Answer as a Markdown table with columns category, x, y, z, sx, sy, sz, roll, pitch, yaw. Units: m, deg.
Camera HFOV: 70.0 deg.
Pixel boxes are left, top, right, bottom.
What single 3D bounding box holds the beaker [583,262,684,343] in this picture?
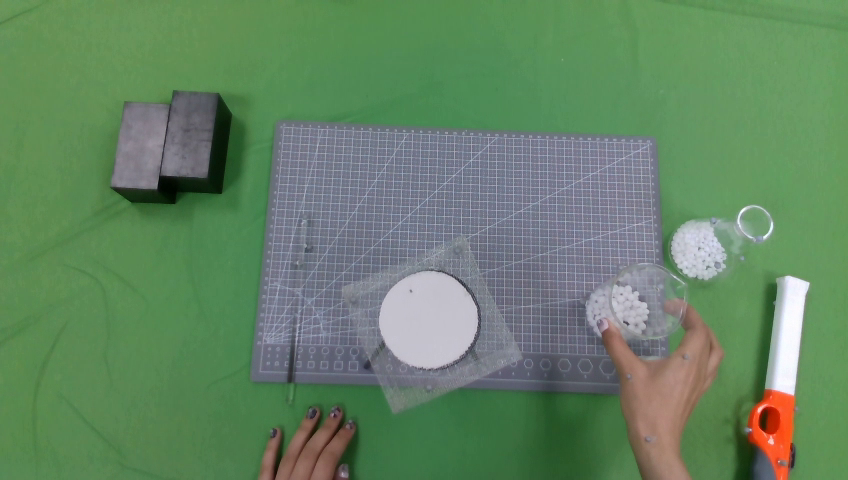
| category | x | y | z | sx | sy | sz | roll | pitch | yaw |
| --- | --- | --- | --- | --- | --- | --- | --- | --- | --- |
| beaker | 0.212 | 0.067 | 0.625 | 0.084 | 0.100 | 0.073 | -22 | 78 | -7 |

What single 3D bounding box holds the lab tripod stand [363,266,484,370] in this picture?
| category | x | y | z | sx | sy | sz | roll | pitch | yaw |
| --- | --- | --- | --- | --- | --- | --- | --- | --- | --- |
| lab tripod stand | 0.001 | 0.087 | 0.596 | 0.148 | 0.132 | 0.147 | 0 | 78 | -1 |

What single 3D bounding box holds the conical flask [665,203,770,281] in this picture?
| category | x | y | z | sx | sy | sz | roll | pitch | yaw |
| --- | --- | --- | --- | --- | --- | --- | --- | --- | --- |
| conical flask | 0.312 | -0.003 | 0.637 | 0.075 | 0.122 | 0.075 | 0 | 76 | -1 |

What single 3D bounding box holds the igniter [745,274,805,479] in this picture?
| category | x | y | z | sx | sy | sz | roll | pitch | yaw |
| --- | --- | --- | --- | --- | --- | --- | --- | --- | --- |
| igniter | 0.373 | 0.170 | 0.646 | 0.057 | 0.025 | 0.275 | 18 | 76 | -8 |

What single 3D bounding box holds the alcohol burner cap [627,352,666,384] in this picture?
| category | x | y | z | sx | sy | sz | roll | pitch | yaw |
| --- | --- | --- | --- | --- | --- | --- | --- | --- | --- |
| alcohol burner cap | 0.238 | 0.134 | 0.640 | 0.034 | 0.048 | 0.033 | 0 | 76 | 0 |

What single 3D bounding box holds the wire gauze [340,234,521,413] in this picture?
| category | x | y | z | sx | sy | sz | roll | pitch | yaw |
| --- | --- | --- | --- | --- | --- | --- | --- | --- | --- |
| wire gauze | 0.004 | 0.071 | 0.530 | 0.125 | 0.011 | 0.121 | -23 | 79 | -6 |

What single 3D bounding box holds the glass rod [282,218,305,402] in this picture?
| category | x | y | z | sx | sy | sz | roll | pitch | yaw |
| --- | --- | --- | --- | --- | --- | --- | --- | --- | --- |
| glass rod | -0.141 | 0.073 | 0.657 | 0.008 | 0.008 | 0.199 | 3 | 79 | -1 |

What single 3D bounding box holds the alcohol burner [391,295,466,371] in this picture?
| category | x | y | z | sx | sy | sz | roll | pitch | yaw |
| --- | --- | --- | --- | --- | --- | --- | --- | --- | --- |
| alcohol burner | 0.004 | 0.090 | 0.605 | 0.078 | 0.119 | 0.077 | 0 | 75 | 0 |
